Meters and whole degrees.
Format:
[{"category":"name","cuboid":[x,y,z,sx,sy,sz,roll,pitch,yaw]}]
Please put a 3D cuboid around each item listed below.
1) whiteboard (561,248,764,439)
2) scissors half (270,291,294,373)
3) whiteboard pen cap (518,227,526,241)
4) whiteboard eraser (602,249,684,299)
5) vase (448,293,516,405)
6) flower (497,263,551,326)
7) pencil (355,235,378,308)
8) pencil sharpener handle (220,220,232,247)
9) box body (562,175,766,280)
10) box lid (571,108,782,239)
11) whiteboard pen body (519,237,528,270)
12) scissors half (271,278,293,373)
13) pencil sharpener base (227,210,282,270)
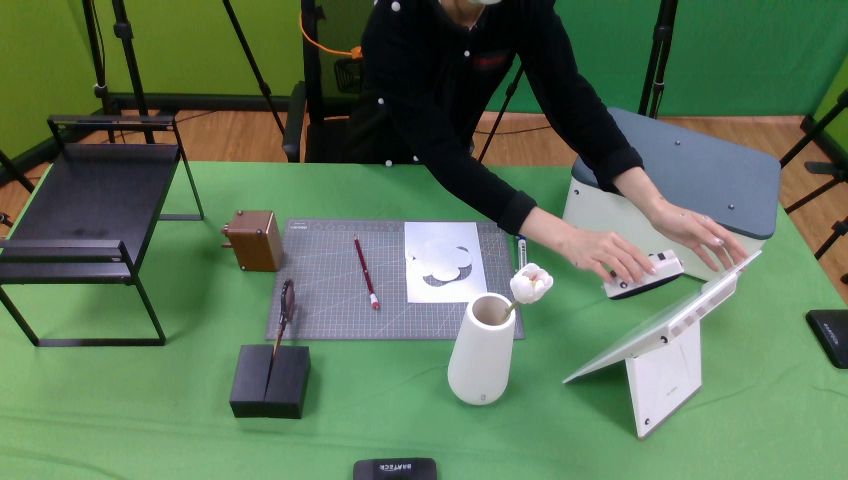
[{"category":"whiteboard","cuboid":[0.386,0.176,0.905,0.217,0.306,0.143,-26,72,-26]},{"category":"scissors half","cuboid":[-0.237,0.151,1.009,0.013,0.040,0.174,5,37,-2]},{"category":"whiteboard pen cap","cuboid":[0.197,-0.009,1.220,0.018,0.018,0.033,5,51,1]},{"category":"whiteboard eraser","cuboid":[0.325,0.053,0.903,0.112,0.042,0.055,-23,7,17]},{"category":"vase","cuboid":[0.091,0.169,0.921,0.098,0.201,0.097,3,47,-3]},{"category":"flower","cuboid":[0.103,0.121,0.852,0.044,0.363,0.038,-1,64,-9]},{"category":"pencil","cuboid":[-0.112,0.055,1.143,0.012,0.012,0.192,-9,45,-13]},{"category":"pencil sharpener handle","cuboid":[-0.362,-0.009,1.105,0.030,0.068,0.036,1,52,1]},{"category":"box body","cuboid":[0.486,-0.089,1.222,0.363,0.161,0.253,20,48,15]},{"category":"box lid","cuboid":[0.491,-0.139,1.168,0.370,0.015,0.262,21,49,15]},{"category":"whiteboard pen body","cuboid":[0.193,0.034,1.180,0.017,0.017,0.140,6,49,1]},{"category":"scissors half","cuboid":[-0.236,0.137,0.994,0.013,0.040,0.174,1,55,2]},{"category":"pencil sharpener base","cuboid":[-0.311,0.001,1.112,0.077,0.107,0.061,1,47,1]}]
